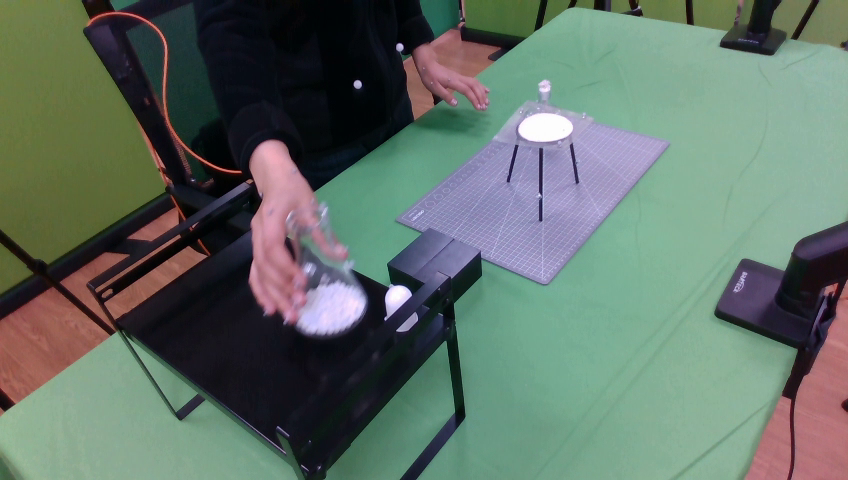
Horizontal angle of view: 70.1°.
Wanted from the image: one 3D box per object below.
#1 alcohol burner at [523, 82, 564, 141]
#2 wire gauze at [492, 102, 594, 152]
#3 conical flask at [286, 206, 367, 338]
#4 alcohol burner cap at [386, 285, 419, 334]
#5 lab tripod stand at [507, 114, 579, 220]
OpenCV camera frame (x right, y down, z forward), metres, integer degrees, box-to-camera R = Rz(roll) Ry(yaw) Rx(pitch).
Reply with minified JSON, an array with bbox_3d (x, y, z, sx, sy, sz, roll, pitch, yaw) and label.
[{"bbox_3d":[0.230,-0.251,1.161,0.078,0.119,0.077,-4,43,4],"label":"alcohol burner"},{"bbox_3d":[0.191,-0.180,0.964,0.120,0.011,0.125,19,48,28],"label":"wire gauze"},{"bbox_3d":[-0.098,0.028,0.566,0.075,0.122,0.075,-4,37,3],"label":"conical flask"},{"bbox_3d":[-0.023,0.067,0.604,0.034,0.048,0.033,-4,39,4],"label":"alcohol burner cap"},{"bbox_3d":[0.199,-0.128,1.005,0.148,0.132,0.147,-3,42,3],"label":"lab tripod stand"}]
